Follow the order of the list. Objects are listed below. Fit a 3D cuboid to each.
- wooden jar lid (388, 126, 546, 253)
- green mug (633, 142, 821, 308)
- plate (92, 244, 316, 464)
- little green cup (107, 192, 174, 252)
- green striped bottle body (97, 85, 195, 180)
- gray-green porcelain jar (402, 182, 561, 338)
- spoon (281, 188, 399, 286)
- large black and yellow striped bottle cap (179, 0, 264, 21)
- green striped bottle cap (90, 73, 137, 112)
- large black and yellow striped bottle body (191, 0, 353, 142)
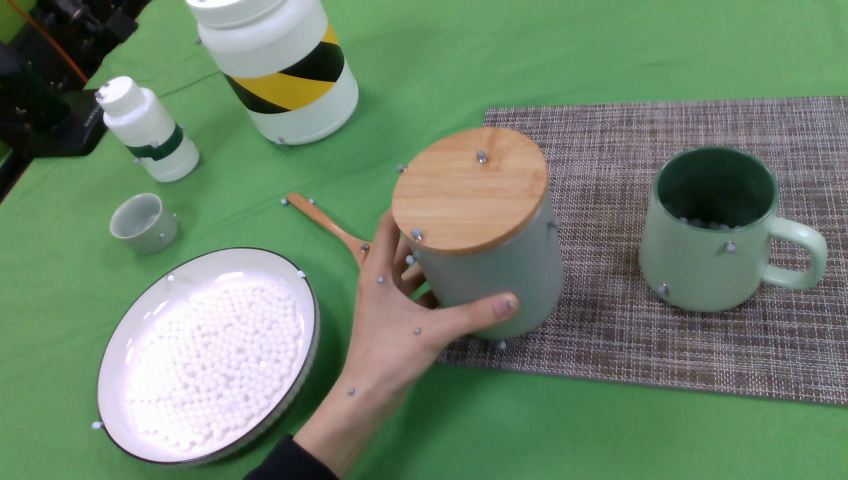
[{"bbox_3d":[0.029,-0.032,0.408,0.108,0.021,0.107,-13,50,16],"label":"wooden jar lid"},{"bbox_3d":[0.219,-0.003,0.444,0.124,0.106,0.092,23,64,29],"label":"green mug"},{"bbox_3d":[-0.191,0.098,0.544,0.209,0.038,0.207,-8,53,11],"label":"plate"},{"bbox_3d":[-0.307,-0.018,0.662,0.061,0.039,0.061,-8,53,11],"label":"little green cup"},{"bbox_3d":[-0.322,-0.129,0.694,0.063,0.120,0.062,-9,53,12],"label":"green striped bottle body"},{"bbox_3d":[0.046,0.005,0.456,0.105,0.128,0.105,-10,51,12],"label":"gray-green porcelain jar"},{"bbox_3d":[-0.089,-0.012,0.601,0.192,0.022,0.041,35,91,33],"label":"spoon"},{"bbox_3d":[-0.190,-0.260,0.600,0.115,0.019,0.114,-8,52,11],"label":"large black and yellow striped bottle cap"},{"bbox_3d":[-0.335,-0.159,0.654,0.044,0.020,0.044,-6,56,10],"label":"green striped bottle cap"},{"bbox_3d":[-0.168,-0.214,0.666,0.130,0.186,0.129,-8,54,12],"label":"large black and yellow striped bottle body"}]
